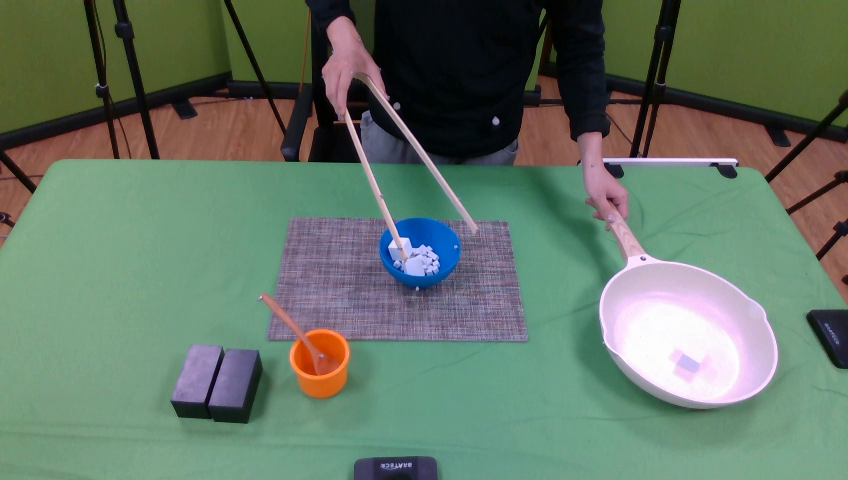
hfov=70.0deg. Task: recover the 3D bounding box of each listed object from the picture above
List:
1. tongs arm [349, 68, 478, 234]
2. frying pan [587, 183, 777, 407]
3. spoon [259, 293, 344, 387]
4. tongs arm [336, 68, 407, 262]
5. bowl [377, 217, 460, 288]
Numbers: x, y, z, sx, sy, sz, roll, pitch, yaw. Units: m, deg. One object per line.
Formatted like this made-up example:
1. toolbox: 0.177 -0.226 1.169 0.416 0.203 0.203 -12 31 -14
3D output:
1. tongs arm: -0.021 -0.164 1.069 0.028 0.028 0.386 -31 74 -15
2. frying pan: 0.412 0.079 1.097 0.307 0.103 0.484 -9 56 -14
3. spoon: -0.191 0.155 0.947 0.021 0.194 0.041 -13 27 50
4. tongs arm: -0.086 -0.138 1.046 0.051 0.026 0.383 -19 70 -15
5. bowl: -0.011 0.036 1.118 0.151 0.077 0.150 2 46 -2
